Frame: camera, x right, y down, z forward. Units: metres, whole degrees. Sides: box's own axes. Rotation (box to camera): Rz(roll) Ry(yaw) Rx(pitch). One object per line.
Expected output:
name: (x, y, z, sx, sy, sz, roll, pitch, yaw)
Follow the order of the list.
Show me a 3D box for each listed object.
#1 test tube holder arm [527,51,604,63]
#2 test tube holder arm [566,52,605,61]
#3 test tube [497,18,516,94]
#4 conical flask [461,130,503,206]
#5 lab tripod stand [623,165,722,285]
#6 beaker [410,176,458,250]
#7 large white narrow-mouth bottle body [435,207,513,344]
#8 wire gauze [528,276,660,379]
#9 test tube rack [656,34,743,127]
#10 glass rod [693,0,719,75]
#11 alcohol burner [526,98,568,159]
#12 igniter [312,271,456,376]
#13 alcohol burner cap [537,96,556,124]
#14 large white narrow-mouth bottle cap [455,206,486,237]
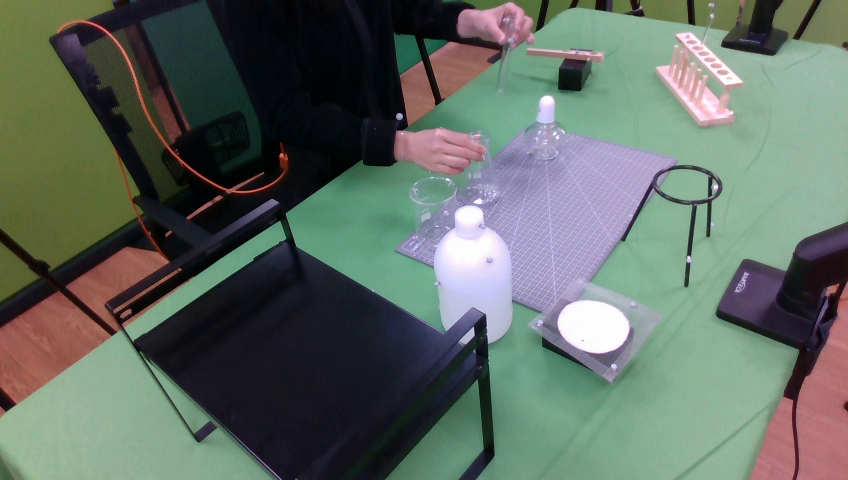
test tube holder arm: (0.312, -0.408, 1.344, 0.177, 0.015, 0.013, 14, 38, 30)
test tube holder arm: (0.352, -0.401, 1.325, 0.087, 0.015, 0.010, 15, 39, 31)
test tube: (0.149, -0.330, 1.095, 0.017, 0.150, 0.017, 2, 47, -2)
conical flask: (0.097, -0.126, 1.031, 0.075, 0.122, 0.075, -4, 38, 4)
lab tripod stand: (0.365, -0.030, 0.875, 0.148, 0.132, 0.147, -6, 41, 6)
beaker: (0.022, -0.041, 0.963, 0.073, 0.101, 0.084, 28, 51, 35)
large white narrow-mouth bottle body: (0.065, 0.041, 0.791, 0.102, 0.195, 0.101, -4, 41, 4)
wire gauze: (0.214, 0.103, 0.763, 0.124, 0.011, 0.122, 30, 52, 35)
test tube rack: (0.553, -0.330, 1.233, 0.067, 0.085, 0.241, -7, 40, 2)
glass rod: (0.561, -0.401, 1.214, 0.008, 0.200, 0.008, -1, 48, 2)
alcohol burner: (0.228, -0.210, 1.118, 0.078, 0.119, 0.077, -5, 43, 5)
igniter: (-0.068, 0.111, 0.859, 0.274, 0.025, 0.057, 27, 61, 34)
alcohol burner cap: (0.223, -0.238, 1.095, 0.034, 0.048, 0.033, -2, 37, 2)
large white narrow-mouth bottle cap: (0.057, -0.023, 0.734, 0.038, 0.024, 0.037, -4, 40, 4)
